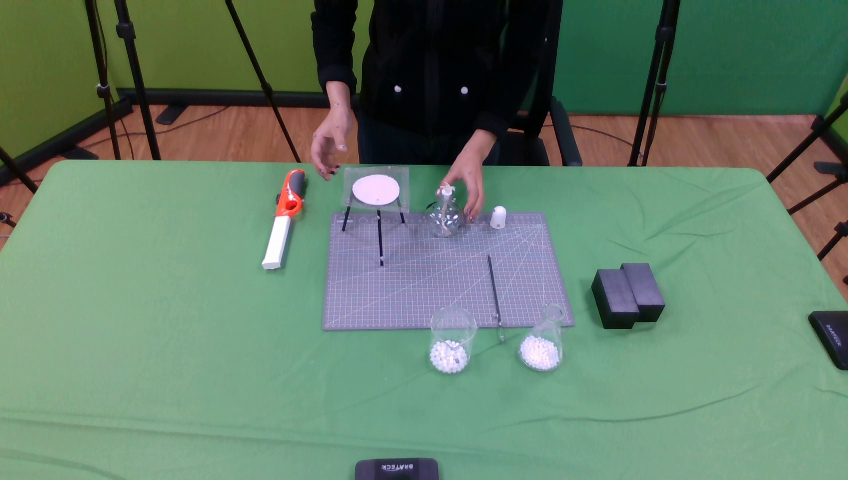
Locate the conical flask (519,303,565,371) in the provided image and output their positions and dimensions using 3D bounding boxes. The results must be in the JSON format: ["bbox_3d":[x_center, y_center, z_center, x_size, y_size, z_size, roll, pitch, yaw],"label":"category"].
[{"bbox_3d":[0.201,0.155,0.997,0.075,0.122,0.075,2,46,-2],"label":"conical flask"}]

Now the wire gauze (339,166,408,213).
[{"bbox_3d":[-0.091,-0.096,1.110,0.125,0.011,0.120,2,45,-3],"label":"wire gauze"}]

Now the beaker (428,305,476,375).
[{"bbox_3d":[0.044,0.169,0.987,0.074,0.101,0.083,1,47,-3],"label":"beaker"}]

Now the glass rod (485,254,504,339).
[{"bbox_3d":[0.129,0.099,1.119,0.008,0.008,0.198,-1,46,-4],"label":"glass rod"}]

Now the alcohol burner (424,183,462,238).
[{"bbox_3d":[0.039,-0.063,1.197,0.078,0.119,0.077,2,44,-2],"label":"alcohol burner"}]

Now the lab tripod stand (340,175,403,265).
[{"bbox_3d":[-0.093,-0.050,1.160,0.148,0.132,0.147,2,44,-2],"label":"lab tripod stand"}]

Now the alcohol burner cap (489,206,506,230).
[{"bbox_3d":[0.152,-0.047,1.241,0.034,0.048,0.033,2,46,-2],"label":"alcohol burner cap"}]

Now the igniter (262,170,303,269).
[{"bbox_3d":[-0.283,-0.050,1.222,0.057,0.025,0.275,-5,45,7],"label":"igniter"}]
